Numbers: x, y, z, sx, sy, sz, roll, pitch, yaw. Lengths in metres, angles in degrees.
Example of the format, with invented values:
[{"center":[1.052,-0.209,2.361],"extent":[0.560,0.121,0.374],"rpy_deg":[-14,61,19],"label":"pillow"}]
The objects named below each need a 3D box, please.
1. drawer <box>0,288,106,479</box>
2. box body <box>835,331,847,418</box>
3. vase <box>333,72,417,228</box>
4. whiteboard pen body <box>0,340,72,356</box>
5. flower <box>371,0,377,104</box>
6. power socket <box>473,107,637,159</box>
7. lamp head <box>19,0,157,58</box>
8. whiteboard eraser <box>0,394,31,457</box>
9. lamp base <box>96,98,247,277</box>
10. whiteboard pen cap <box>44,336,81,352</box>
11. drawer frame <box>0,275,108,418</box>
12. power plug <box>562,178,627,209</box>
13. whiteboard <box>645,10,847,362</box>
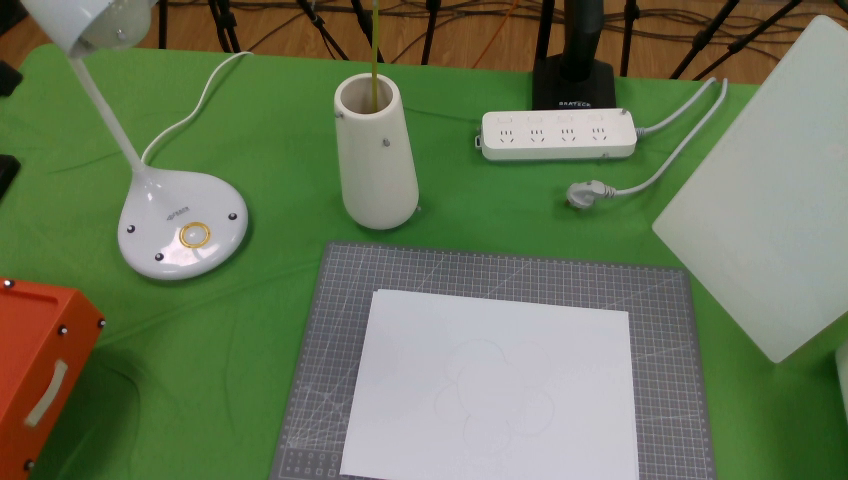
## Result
[{"center":[-0.462,0.130,0.596],"extent":[0.211,0.074,0.193],"rpy_deg":[8,59,6],"label":"drawer"},{"center":[0.546,0.225,0.523],"extent":[0.254,0.162,0.361],"rpy_deg":[7,58,5],"label":"box body"},{"center":[-0.060,-0.101,0.720],"extent":[0.098,0.202,0.097],"rpy_deg":[-1,57,2],"label":"vase"},{"center":[-0.440,0.114,0.631],"extent":[0.141,0.017,0.017],"rpy_deg":[-3,57,-3],"label":"whiteboard pen body"},{"center":[-0.054,-0.160,0.660],"extent":[0.038,0.365,0.043],"rpy_deg":[-5,39,-10],"label":"flower"},{"center":[0.183,-0.150,0.845],"extent":[0.227,0.033,0.071],"rpy_deg":[-1,58,0],"label":"power socket"},{"center":[-0.277,-0.220,0.467],"extent":[0.123,0.112,0.112],"rpy_deg":[45,62,-16],"label":"lamp head"},{"center":[-0.443,0.177,0.585],"extent":[0.112,0.042,0.055],"rpy_deg":[0,50,9],"label":"whiteboard eraser"},{"center":[-0.319,-0.071,0.716],"extent":[0.178,0.182,0.160],"rpy_deg":[34,63,24],"label":"lamp base"},{"center":[-0.379,0.109,0.634],"extent":[0.033,0.018,0.018],"rpy_deg":[-4,57,5],"label":"whiteboard pen cap"},{"center":[-0.469,0.132,0.598],"extent":[0.213,0.083,0.200],"rpy_deg":[9,58,4],"label":"drawer frame"},{"center":[0.216,-0.052,0.780],"extent":[0.073,0.053,0.035],"rpy_deg":[27,55,-5],"label":"power plug"},{"center":[0.434,-0.052,0.653],"extent":[0.144,0.307,0.215],"rpy_deg":[-14,55,-30],"label":"whiteboard"}]
